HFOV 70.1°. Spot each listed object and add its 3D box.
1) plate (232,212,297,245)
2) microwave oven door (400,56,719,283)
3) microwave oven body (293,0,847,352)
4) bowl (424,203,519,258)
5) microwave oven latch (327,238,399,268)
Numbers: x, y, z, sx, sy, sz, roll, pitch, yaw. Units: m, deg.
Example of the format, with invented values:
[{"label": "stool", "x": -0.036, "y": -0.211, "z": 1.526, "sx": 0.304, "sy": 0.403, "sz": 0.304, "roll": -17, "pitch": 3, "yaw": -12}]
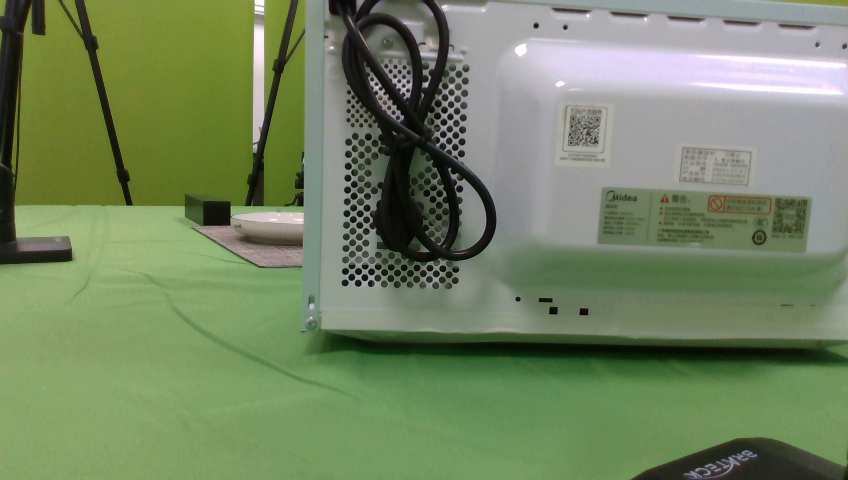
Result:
[{"label": "plate", "x": -0.214, "y": -0.019, "z": 1.018, "sx": 0.208, "sy": 0.039, "sz": 0.207, "roll": 2, "pitch": 7, "yaw": 0}, {"label": "microwave oven door", "x": 0.155, "y": -0.078, "z": 0.698, "sx": 0.356, "sy": 0.243, "sz": 0.039, "roll": 2, "pitch": 8, "yaw": -5}, {"label": "microwave oven body", "x": 0.122, "y": -0.055, "z": 0.550, "sx": 0.442, "sy": 0.260, "sz": 0.325, "roll": 3, "pitch": 7, "yaw": -5}, {"label": "bowl", "x": 0.073, "y": -0.015, "z": 0.962, "sx": 0.151, "sy": 0.077, "sz": 0.151, "roll": 3, "pitch": 7, "yaw": 0}, {"label": "microwave oven latch", "x": -0.069, "y": 0.015, "z": 0.694, "sx": 0.079, "sy": 0.029, "sz": 0.030, "roll": 3, "pitch": 7, "yaw": -3}]
